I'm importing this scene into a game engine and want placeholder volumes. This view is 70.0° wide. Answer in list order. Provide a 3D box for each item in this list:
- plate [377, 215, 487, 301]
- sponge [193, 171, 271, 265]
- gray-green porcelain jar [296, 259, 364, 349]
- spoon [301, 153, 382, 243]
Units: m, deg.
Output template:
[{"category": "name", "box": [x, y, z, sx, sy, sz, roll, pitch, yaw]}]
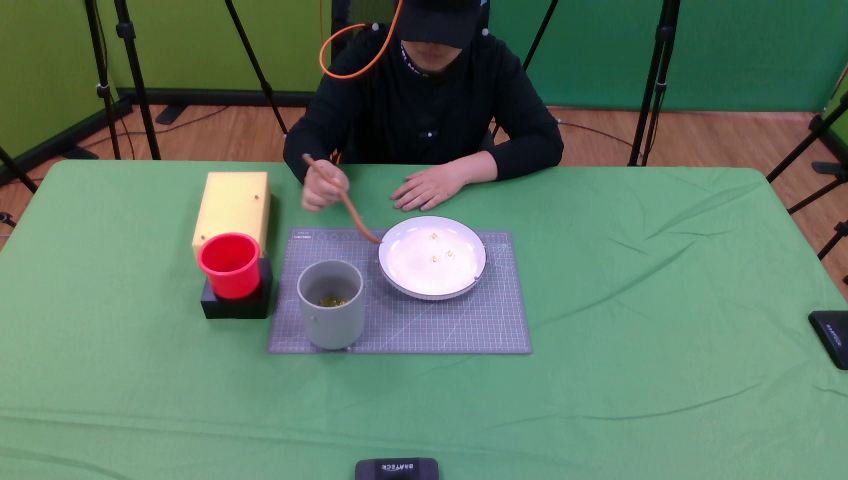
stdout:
[{"category": "plate", "box": [0.015, 0.037, 1.147, 0.208, 0.039, 0.206, 2, 46, -2]}, {"category": "sponge", "box": [-0.371, -0.047, 1.189, 0.118, 0.061, 0.205, -2, 47, -6]}, {"category": "gray-green porcelain jar", "box": [-0.152, 0.111, 1.003, 0.106, 0.127, 0.105, 2, 46, -2]}, {"category": "spoon", "box": [-0.133, -0.065, 0.981, 0.021, 0.194, 0.041, -38, 16, -6]}]
